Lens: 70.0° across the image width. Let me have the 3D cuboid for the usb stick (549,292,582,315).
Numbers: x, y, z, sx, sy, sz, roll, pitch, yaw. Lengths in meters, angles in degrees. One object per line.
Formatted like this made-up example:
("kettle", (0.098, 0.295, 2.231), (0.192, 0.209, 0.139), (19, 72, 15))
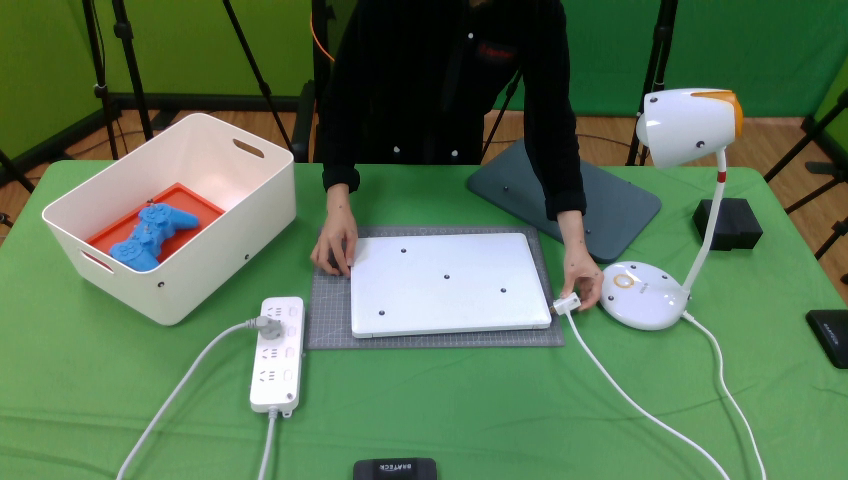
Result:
("usb stick", (0.250, 0.116, 1.084), (0.059, 0.021, 0.027), (-28, 12, 17))

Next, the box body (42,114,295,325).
("box body", (-0.437, -0.046, 1.110), (0.253, 0.161, 0.363), (24, 49, 19))

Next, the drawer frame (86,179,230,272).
("drawer frame", (-0.453, 0.010, 1.100), (0.201, 0.083, 0.213), (28, 54, 23))

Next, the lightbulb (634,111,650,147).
("lightbulb", (0.348, -0.163, 0.852), (0.059, 0.060, 0.107), (-36, 19, -32))

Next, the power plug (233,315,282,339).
("power plug", (-0.271, 0.144, 1.000), (0.072, 0.053, 0.035), (6, 47, 3))

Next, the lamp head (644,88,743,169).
("lamp head", (0.380, -0.161, 0.851), (0.122, 0.113, 0.112), (-4, 42, 25))

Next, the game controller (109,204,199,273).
("game controller", (-0.467, -0.005, 1.044), (0.097, 0.052, 0.154), (8, 45, 11))

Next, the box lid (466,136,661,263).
("box lid", (0.306, -0.102, 1.327), (0.370, 0.015, 0.263), (32, 52, 25))

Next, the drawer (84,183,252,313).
("drawer", (-0.457, 0.008, 1.099), (0.194, 0.073, 0.211), (29, 49, 21))

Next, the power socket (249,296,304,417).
("power socket", (-0.239, 0.182, 0.996), (0.072, 0.033, 0.225), (-2, 47, -5))

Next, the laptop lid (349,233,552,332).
("laptop lid", (0.040, 0.070, 1.119), (0.357, 0.013, 0.240), (-1, 44, -5))

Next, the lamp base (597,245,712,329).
("lamp base", (0.418, 0.051, 1.071), (0.179, 0.181, 0.160), (22, 49, 13))

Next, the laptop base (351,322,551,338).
("laptop base", (0.040, 0.081, 1.126), (0.355, 0.023, 0.234), (-2, 43, -6))
